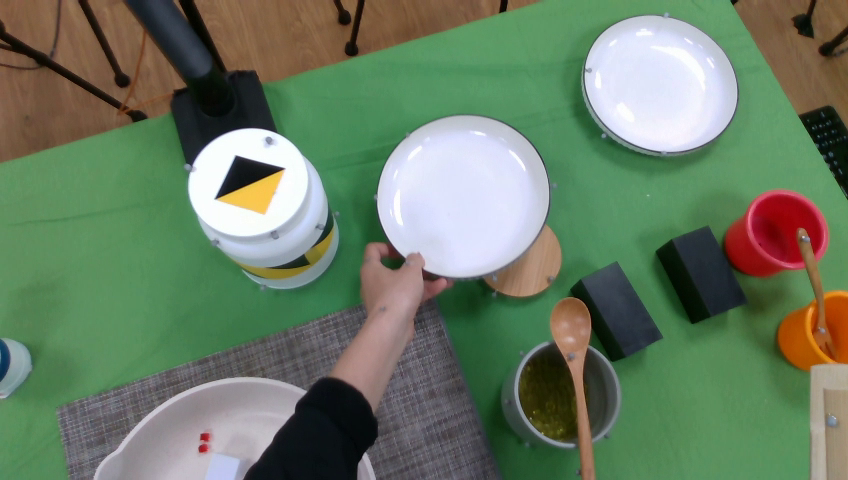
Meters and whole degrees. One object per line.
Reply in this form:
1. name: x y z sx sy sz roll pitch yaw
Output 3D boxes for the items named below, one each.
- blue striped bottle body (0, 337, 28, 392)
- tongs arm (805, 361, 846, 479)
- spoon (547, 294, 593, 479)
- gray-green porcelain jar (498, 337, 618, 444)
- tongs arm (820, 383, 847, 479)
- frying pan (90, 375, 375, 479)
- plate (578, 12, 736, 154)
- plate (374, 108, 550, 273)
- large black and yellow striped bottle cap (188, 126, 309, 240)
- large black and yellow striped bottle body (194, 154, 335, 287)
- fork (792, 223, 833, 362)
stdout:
1. blue striped bottle body: -0.490 0.127 0.647 0.063 0.121 0.062 0 72 -1
2. tongs arm: 0.305 0.271 0.456 0.027 0.028 0.389 -7 103 12
3. spoon: 0.146 0.149 0.583 0.042 0.022 0.192 -2 76 -8
4. gray-green porcelain jar: 0.137 0.164 0.652 0.106 0.127 0.105 1 73 -1
5. tongs arm: 0.300 0.276 0.435 0.026 0.051 0.385 -6 99 15
6. frying pan: -0.227 0.377 0.585 0.306 0.103 0.485 21 65 6
7. plate: 0.308 -0.208 0.814 0.209 0.038 0.208 0 73 -1
8. plate: 0.045 -0.058 0.728 0.207 0.039 0.206 -2 73 6
9. large black and yellow striped bottle cap: -0.171 -0.057 0.592 0.115 0.019 0.114 1 74 -1
10. large black and yellow striped bottle body: -0.174 -0.030 0.672 0.131 0.185 0.130 0 72 -1
11. fork: 0.435 0.063 0.678 0.028 0.018 0.209 -32 121 -2
